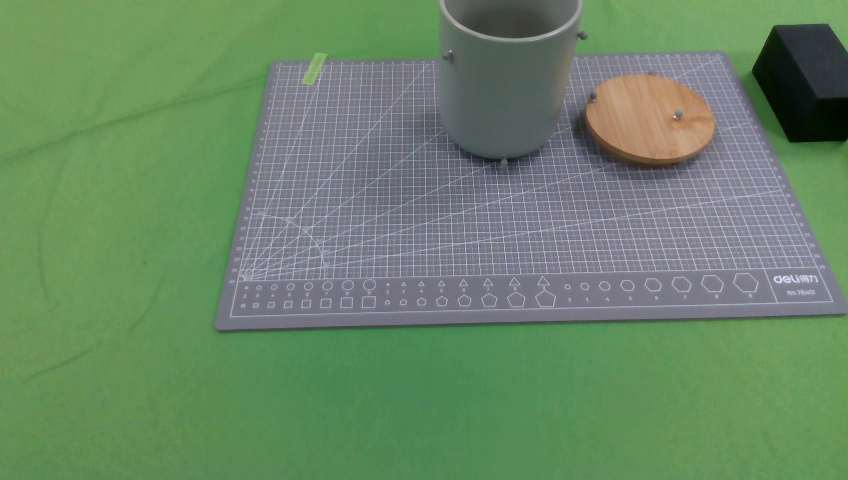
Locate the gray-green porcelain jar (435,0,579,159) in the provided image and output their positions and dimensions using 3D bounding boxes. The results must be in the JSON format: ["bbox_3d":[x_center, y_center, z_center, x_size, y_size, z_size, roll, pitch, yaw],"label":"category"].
[{"bbox_3d":[0.062,-0.138,0.492,0.106,0.127,0.105,0,54,1],"label":"gray-green porcelain jar"}]

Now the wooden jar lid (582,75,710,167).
[{"bbox_3d":[0.192,-0.103,0.531,0.108,0.021,0.107,-1,53,1],"label":"wooden jar lid"}]
